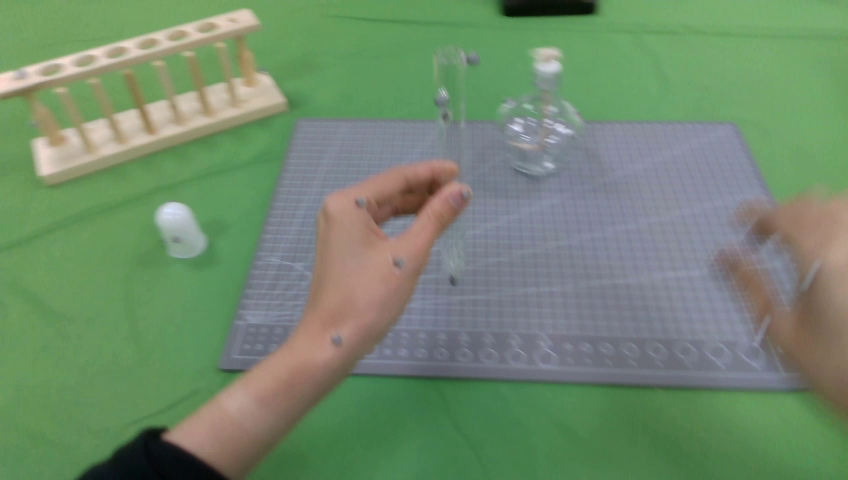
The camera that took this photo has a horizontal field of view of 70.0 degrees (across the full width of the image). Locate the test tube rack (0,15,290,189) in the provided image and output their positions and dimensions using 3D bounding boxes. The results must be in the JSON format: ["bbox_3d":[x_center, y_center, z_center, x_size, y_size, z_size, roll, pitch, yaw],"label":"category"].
[{"bbox_3d":[-0.266,-0.141,0.601,0.243,0.086,0.066,-22,50,-18],"label":"test tube rack"}]

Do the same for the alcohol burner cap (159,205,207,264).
[{"bbox_3d":[-0.204,-0.007,0.506,0.034,0.048,0.033,-1,47,1],"label":"alcohol burner cap"}]

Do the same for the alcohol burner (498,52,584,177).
[{"bbox_3d":[0.106,-0.115,0.542,0.078,0.120,0.077,0,49,0],"label":"alcohol burner"}]

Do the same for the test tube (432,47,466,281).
[{"bbox_3d":[0.015,-0.035,0.346,0.017,0.151,0.017,-2,39,2],"label":"test tube"}]
